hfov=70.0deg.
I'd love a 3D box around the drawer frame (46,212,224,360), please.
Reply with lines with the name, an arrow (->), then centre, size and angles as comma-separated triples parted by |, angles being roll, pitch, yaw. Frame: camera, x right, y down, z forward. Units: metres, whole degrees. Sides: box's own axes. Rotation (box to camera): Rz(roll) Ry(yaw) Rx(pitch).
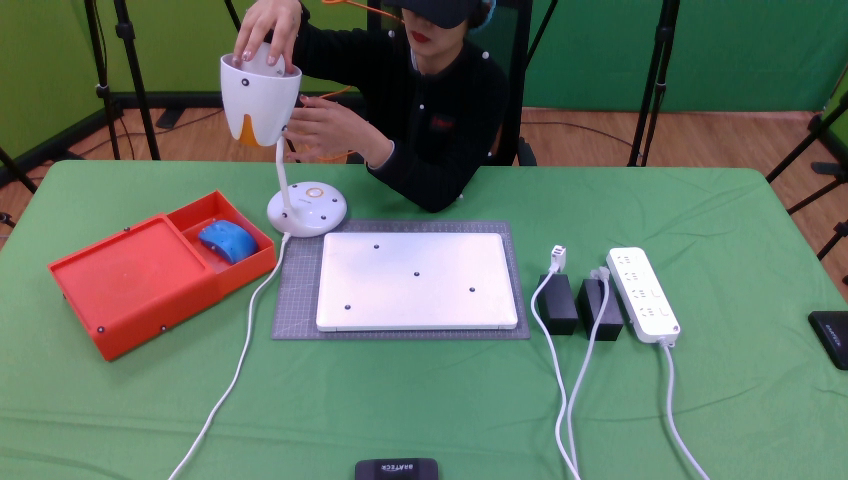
drawer frame -> -0.495, 0.072, 1.050 | 0.213, 0.083, 0.200 | -32, 56, -30

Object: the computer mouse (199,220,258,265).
computer mouse -> -0.374, -0.001, 1.153 | 0.116, 0.041, 0.063 | 30, 52, 28

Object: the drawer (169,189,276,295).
drawer -> -0.413, 0.022, 1.108 | 0.212, 0.073, 0.193 | -33, 57, -30

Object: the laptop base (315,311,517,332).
laptop base -> -0.016, 0.075, 1.125 | 0.355, 0.023, 0.234 | 0, 42, -4

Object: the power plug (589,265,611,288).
power plug -> 0.318, 0.073, 1.108 | 0.035, 0.053, 0.072 | 26, 34, 13

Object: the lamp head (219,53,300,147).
lamp head -> -0.244, -0.202, 0.889 | 0.112, 0.123, 0.112 | 10, 33, -7

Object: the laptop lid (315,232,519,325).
laptop lid -> -0.015, 0.065, 1.118 | 0.357, 0.013, 0.240 | 1, 43, -3

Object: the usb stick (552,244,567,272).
usb stick -> 0.251, 0.039, 1.123 | 0.021, 0.059, 0.027 | 14, 47, 24

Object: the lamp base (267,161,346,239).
lamp base -> -0.241, -0.110, 1.175 | 0.160, 0.181, 0.178 | 11, 49, 9

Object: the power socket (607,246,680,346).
power socket -> 0.403, 0.096, 1.123 | 0.072, 0.033, 0.225 | -3, 46, -5

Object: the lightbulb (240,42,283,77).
lightbulb -> -0.236, -0.229, 0.873 | 0.059, 0.108, 0.059 | 11, 22, -4
